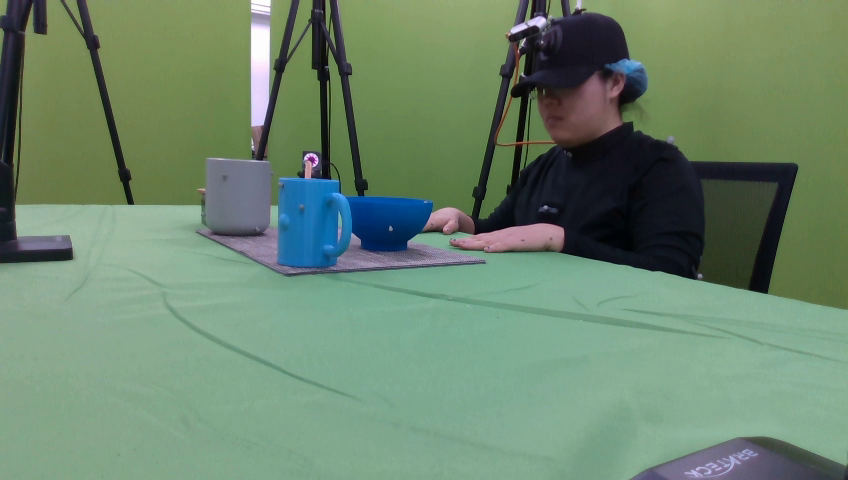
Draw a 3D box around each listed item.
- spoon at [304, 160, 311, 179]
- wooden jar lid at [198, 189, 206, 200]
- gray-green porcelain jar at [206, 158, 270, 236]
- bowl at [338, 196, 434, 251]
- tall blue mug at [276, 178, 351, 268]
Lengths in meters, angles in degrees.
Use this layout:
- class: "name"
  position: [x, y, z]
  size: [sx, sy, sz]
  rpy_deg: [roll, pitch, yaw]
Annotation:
- class: "spoon"
  position: [-0.242, -0.103, 1.251]
  size: [0.042, 0.021, 0.193]
  rpy_deg: [0, 52, -5]
- class: "wooden jar lid"
  position: [-0.382, -0.088, 1.175]
  size: [0.108, 0.020, 0.108]
  rpy_deg: [3, 8, 0]
- class: "gray-green porcelain jar"
  position: [-0.317, -0.074, 1.032]
  size: [0.106, 0.126, 0.106]
  rpy_deg: [3, 7, 0]
- class: "bowl"
  position: [-0.061, -0.026, 0.943]
  size: [0.151, 0.077, 0.151]
  rpy_deg: [2, 7, 0]
- class: "tall blue mug"
  position: [-0.133, -0.023, 0.767]
  size: [0.107, 0.108, 0.078]
  rpy_deg: [4, 7, 12]
